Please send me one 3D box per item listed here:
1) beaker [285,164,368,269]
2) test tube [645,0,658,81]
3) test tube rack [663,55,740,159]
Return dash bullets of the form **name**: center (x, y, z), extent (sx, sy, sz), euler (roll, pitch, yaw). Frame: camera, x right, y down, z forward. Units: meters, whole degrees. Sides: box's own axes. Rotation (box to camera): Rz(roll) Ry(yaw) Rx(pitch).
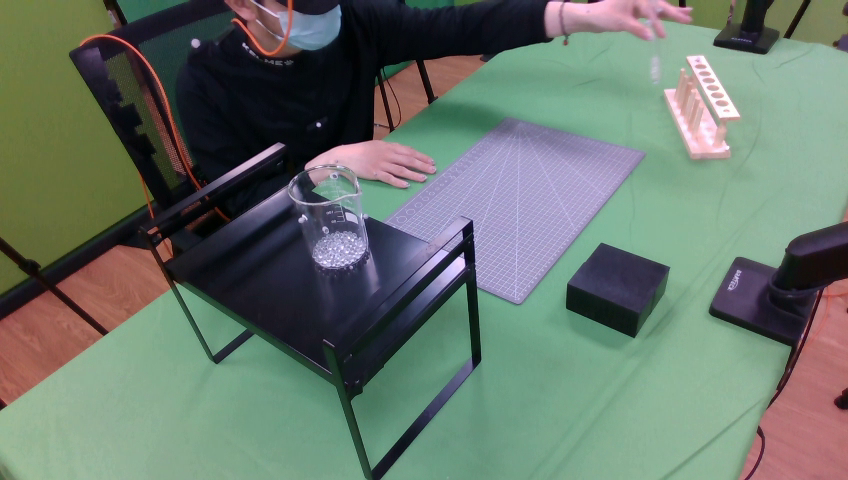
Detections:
- **beaker**: center (-0.101, -0.024, 0.676), extent (0.083, 0.101, 0.074), euler (8, 44, 17)
- **test tube**: center (0.390, -0.340, 1.035), extent (0.017, 0.151, 0.017), euler (-12, 40, 11)
- **test tube rack**: center (0.518, -0.256, 1.144), extent (0.066, 0.085, 0.241), euler (-1, 41, 8)
